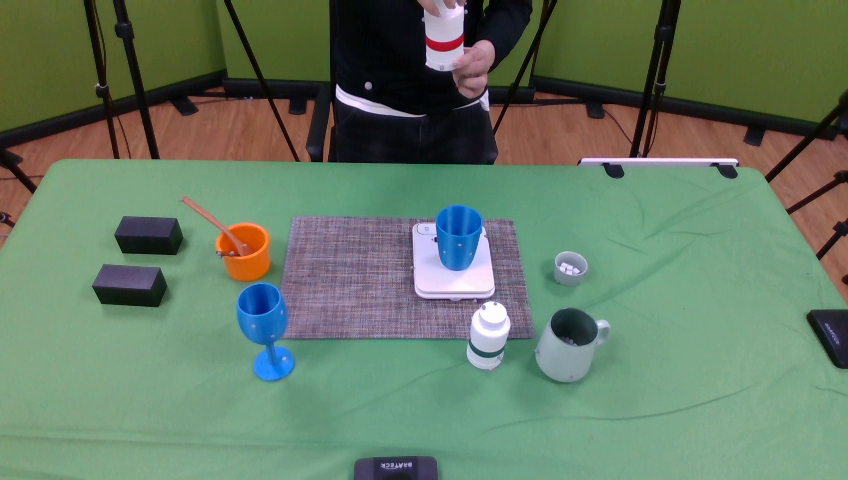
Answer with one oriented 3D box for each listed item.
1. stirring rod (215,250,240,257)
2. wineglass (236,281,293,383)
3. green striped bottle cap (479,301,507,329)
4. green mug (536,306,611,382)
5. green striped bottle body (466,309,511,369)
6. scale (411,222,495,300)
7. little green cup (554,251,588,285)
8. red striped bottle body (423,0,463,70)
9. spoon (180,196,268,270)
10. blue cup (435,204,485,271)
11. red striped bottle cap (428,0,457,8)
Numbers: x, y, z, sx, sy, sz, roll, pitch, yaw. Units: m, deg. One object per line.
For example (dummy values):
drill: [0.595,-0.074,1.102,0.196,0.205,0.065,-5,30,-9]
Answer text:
stirring rod: [-0.339,0.024,1.059,0.014,0.176,0.006,16,86,-6]
wineglass: [-0.243,0.143,0.934,0.074,0.173,0.073,2,46,-2]
green striped bottle cap: [0.109,0.118,0.950,0.044,0.020,0.044,2,47,-2]
green mug: [0.250,0.167,0.996,0.125,0.105,0.092,-15,49,-19]
green striped bottle body: [0.106,0.154,0.988,0.063,0.120,0.063,2,46,-2]
scale: [0.052,0.031,1.158,0.149,0.032,0.199,1,46,-4]
little green cup: [0.277,0.055,1.151,0.061,0.039,0.061,1,46,-1]
red striped bottle body: [0.031,-0.338,0.969,0.063,0.120,0.062,-2,52,3]
spoon: [-0.360,-0.014,1.094,0.021,0.194,0.041,-27,26,31]
blue cup: [0.061,0.001,1.097,0.092,0.101,0.092,0,44,0]
red striped bottle cap: [0.028,-0.374,0.924,0.044,0.018,0.044,1,53,-1]
